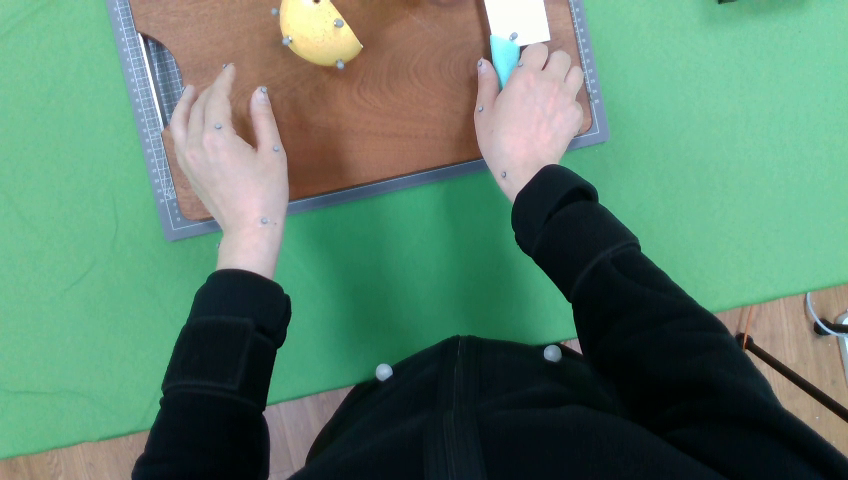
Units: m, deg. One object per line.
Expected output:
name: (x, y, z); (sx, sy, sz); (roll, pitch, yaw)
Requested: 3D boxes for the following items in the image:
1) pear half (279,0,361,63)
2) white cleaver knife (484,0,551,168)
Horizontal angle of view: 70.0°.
pear half: (-0.095, -0.186, 0.512); (0.056, 0.110, 0.076); (-43, 88, 1)
white cleaver knife: (0.084, -0.207, 0.557); (0.066, 0.021, 0.286); (-13, 95, -9)
